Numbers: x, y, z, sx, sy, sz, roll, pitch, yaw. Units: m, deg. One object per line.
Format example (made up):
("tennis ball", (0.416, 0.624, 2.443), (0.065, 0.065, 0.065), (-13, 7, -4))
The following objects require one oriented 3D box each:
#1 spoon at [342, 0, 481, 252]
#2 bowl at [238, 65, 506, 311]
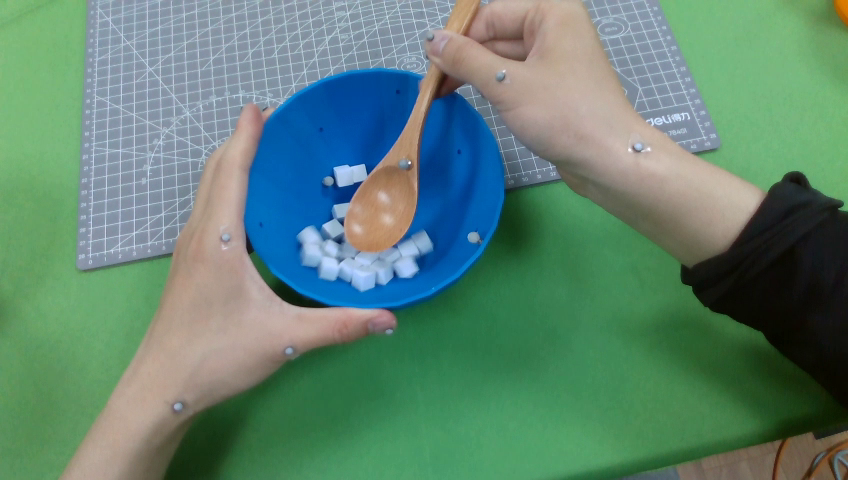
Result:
("spoon", (0.003, -0.082, 0.340), (0.041, 0.022, 0.194), (28, 101, 21))
("bowl", (-0.028, -0.022, 0.374), (0.151, 0.077, 0.150), (0, 70, 1))
